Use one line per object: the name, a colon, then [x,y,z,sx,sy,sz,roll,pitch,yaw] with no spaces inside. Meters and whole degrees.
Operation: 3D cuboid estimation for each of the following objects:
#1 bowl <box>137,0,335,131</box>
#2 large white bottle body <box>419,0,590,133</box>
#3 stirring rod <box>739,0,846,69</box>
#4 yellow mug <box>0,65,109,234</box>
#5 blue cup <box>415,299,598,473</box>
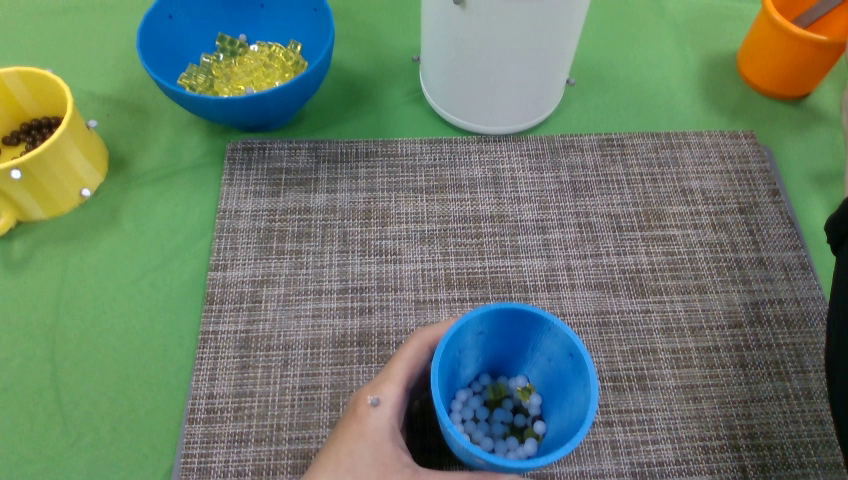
bowl: [-0.145,-0.144,0.499,0.151,0.077,0.150,1,59,-1]
large white bottle body: [0.061,-0.189,0.470,0.131,0.186,0.129,1,59,-1]
stirring rod: [0.346,-0.204,0.503,0.006,0.176,0.014,4,59,-41]
yellow mug: [-0.307,-0.060,0.451,0.100,0.064,0.130,9,60,3]
blue cup: [0.043,0.093,0.348,0.093,0.101,0.092,1,61,-2]
